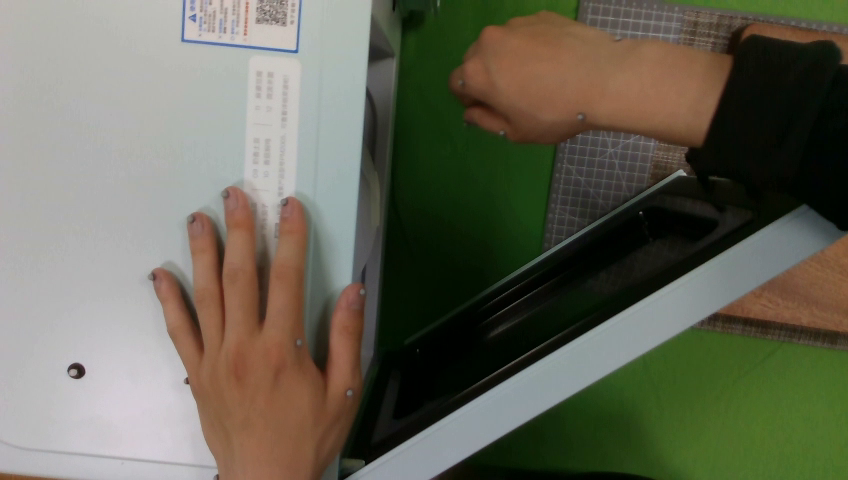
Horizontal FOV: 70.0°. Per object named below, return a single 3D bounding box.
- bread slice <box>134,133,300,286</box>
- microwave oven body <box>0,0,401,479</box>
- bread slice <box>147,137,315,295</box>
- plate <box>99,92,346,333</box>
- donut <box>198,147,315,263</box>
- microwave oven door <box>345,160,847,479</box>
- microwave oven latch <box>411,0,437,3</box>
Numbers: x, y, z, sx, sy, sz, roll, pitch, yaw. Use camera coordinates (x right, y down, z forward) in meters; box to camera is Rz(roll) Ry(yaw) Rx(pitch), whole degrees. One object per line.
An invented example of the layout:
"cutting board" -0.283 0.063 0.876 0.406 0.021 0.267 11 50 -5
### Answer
"bread slice" -0.163 -0.027 0.473 0.134 0.018 0.107 9 102 11
"microwave oven body" -0.165 -0.079 0.475 0.326 0.259 0.442 5 100 1
"bread slice" -0.178 -0.025 0.534 0.131 0.019 0.105 31 99 -3
"plate" -0.171 -0.022 0.533 0.208 0.039 0.208 0 101 -2
"donut" -0.141 -0.029 0.511 0.099 0.048 0.099 0 96 0
"microwave oven door" 0.103 0.052 0.483 0.356 0.243 0.039 -33 96 7
"microwave oven latch" 0.002 -0.254 0.536 0.030 0.029 0.079 5 100 1
